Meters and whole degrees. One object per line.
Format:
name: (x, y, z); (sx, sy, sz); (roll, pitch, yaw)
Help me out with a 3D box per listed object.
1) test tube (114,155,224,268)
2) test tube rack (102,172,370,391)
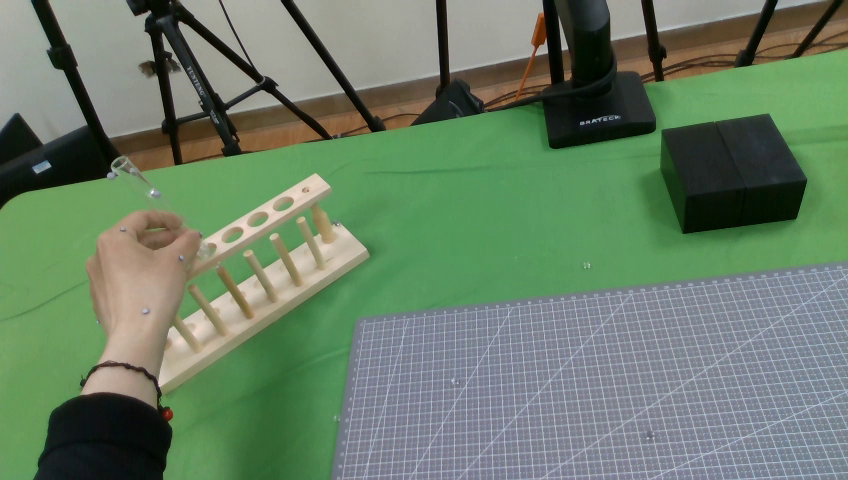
test tube: (-0.228, -0.021, 0.555); (0.017, 0.152, 0.017); (-10, 50, 13)
test tube rack: (-0.181, 0.038, 0.613); (0.242, 0.086, 0.066); (-35, 46, -16)
